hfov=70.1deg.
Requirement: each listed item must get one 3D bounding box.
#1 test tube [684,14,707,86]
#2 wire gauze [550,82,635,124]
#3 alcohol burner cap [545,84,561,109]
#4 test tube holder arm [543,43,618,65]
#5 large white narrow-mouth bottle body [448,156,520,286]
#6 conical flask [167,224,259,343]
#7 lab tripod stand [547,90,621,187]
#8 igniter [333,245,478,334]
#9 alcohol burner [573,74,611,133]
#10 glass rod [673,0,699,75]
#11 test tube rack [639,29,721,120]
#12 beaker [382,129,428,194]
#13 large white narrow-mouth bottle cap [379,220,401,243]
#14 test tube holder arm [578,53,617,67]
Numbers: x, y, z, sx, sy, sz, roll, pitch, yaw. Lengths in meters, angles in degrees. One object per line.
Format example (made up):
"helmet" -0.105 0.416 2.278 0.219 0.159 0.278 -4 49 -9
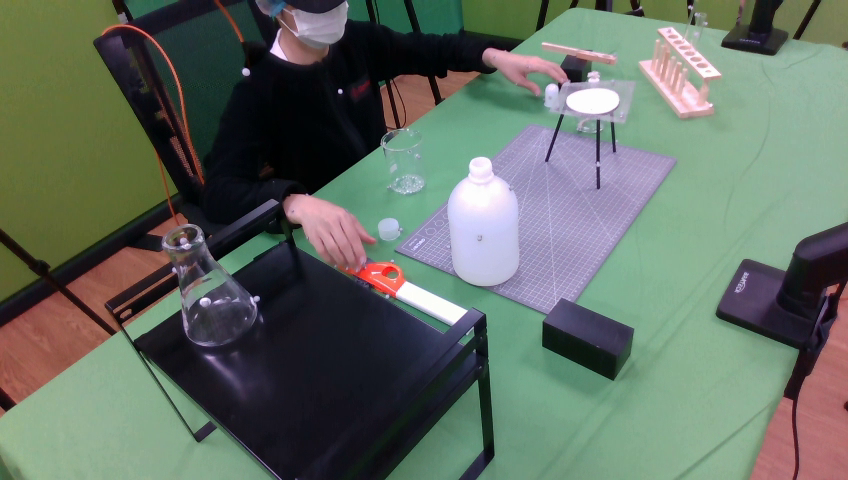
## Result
"test tube" 0.541 -0.379 1.216 0.017 0.151 0.017 -2 44 2
"wire gauze" 0.285 -0.236 1.020 0.124 0.011 0.121 10 44 22
"alcohol burner cap" 0.274 -0.308 1.285 0.034 0.048 0.033 -6 42 6
"test tube holder arm" 0.345 -0.413 1.340 0.177 0.015 0.013 25 50 31
"large white narrow-mouth bottle body" 0.086 -0.032 0.869 0.102 0.195 0.101 -4 40 4
"conical flask" -0.220 0.041 0.613 0.075 0.122 0.075 -5 40 4
"lab tripod stand" 0.289 -0.184 1.062 0.148 0.132 0.147 -6 41 6
"igniter" -0.038 0.068 0.905 0.274 0.025 0.057 24 60 32
"alcohol burner" 0.330 -0.270 1.177 0.078 0.119 0.077 -4 42 5
"glass rod" 0.541 -0.427 1.246 0.008 0.200 0.008 0 48 1
"test tube rack" 0.527 -0.351 1.262 0.067 0.085 0.241 -8 40 1
"beaker" -0.030 -0.142 1.096 0.073 0.101 0.084 14 44 23
"large white narrow-mouth bottle cap" -0.057 -0.015 1.012 0.038 0.024 0.037 -4 40 4
"test tube holder arm" 0.376 -0.393 1.314 0.087 0.015 0.010 26 51 32
